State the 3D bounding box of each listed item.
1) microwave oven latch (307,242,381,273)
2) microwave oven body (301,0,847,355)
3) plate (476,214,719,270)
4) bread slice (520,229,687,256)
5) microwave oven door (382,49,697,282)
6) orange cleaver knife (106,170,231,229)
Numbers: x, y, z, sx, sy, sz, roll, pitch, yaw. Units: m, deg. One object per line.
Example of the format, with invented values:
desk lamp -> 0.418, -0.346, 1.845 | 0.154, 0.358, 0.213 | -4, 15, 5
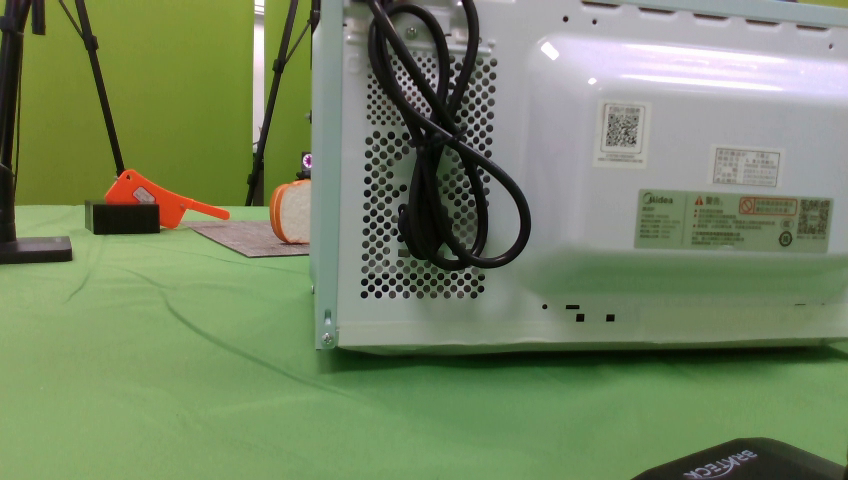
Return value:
microwave oven latch -> -0.086, 0.019, 0.656 | 0.079, 0.029, 0.030 | 2, 7, -10
microwave oven body -> 0.120, -0.053, 0.535 | 0.443, 0.260, 0.325 | 2, 7, -11
plate -> 0.151, -0.001, 0.545 | 0.208, 0.039, 0.207 | 0, 5, 0
bread slice -> 0.172, 0.001, 0.563 | 0.134, 0.018, 0.107 | -2, 4, 31
microwave oven door -> 0.135, -0.077, 0.685 | 0.357, 0.243, 0.039 | 1, 8, -12
orange cleaver knife -> -0.458, -0.060, 1.097 | 0.212, 0.077, 0.012 | 23, -5, -38
